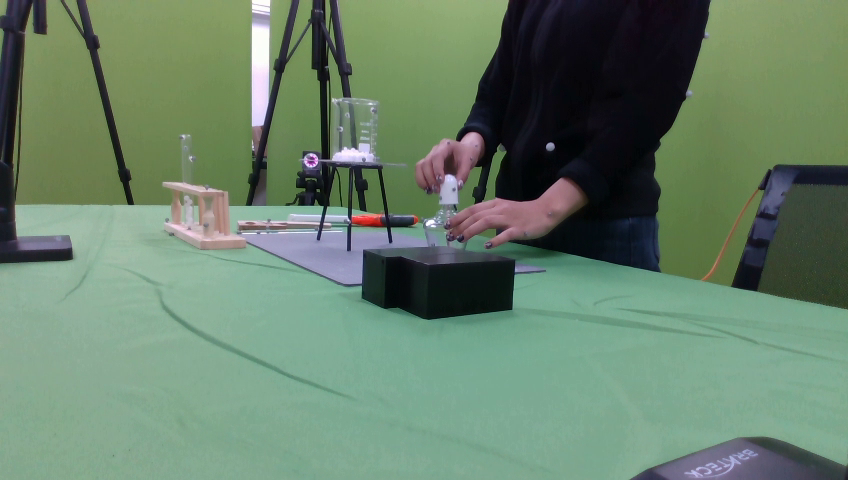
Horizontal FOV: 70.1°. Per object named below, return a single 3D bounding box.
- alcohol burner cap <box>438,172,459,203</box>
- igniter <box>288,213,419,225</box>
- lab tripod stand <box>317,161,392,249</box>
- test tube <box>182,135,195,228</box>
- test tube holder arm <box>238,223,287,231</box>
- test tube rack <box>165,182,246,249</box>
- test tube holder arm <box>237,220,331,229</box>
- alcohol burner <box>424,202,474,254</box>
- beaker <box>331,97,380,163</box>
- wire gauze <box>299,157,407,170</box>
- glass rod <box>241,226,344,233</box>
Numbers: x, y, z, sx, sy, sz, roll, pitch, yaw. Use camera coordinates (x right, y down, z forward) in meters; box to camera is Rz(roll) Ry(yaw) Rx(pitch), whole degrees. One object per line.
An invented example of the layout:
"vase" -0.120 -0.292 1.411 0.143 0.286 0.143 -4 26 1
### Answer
"alcohol burner cap" 0.037 -0.080 0.923 0.034 0.048 0.034 -2 8 1
"igniter" -0.145 -0.044 1.278 0.278 0.025 0.057 -1 -2 -21
"lab tripod stand" -0.111 -0.059 0.964 0.148 0.131 0.148 4 8 0
"test tube" -0.382 -0.095 0.983 0.017 0.150 0.017 -1 2 0
"test tube holder arm" -0.296 -0.024 1.112 0.088 0.015 0.010 -1 41 -32
"test tube rack" -0.360 -0.045 0.983 0.067 0.085 0.241 -3 9 -34
"test tube holder arm" -0.260 -0.028 1.140 0.179 0.015 0.013 -1 41 -32
"alcohol burner" 0.038 -0.039 0.930 0.078 0.119 0.078 0 8 0
"beaker" -0.111 -0.171 0.950 0.073 0.100 0.084 12 12 42
"wire gauze" -0.112 -0.124 0.959 0.121 0.011 0.126 13 11 40
"glass rod" -0.239 -0.019 1.118 0.201 0.008 0.008 -3 9 -33
